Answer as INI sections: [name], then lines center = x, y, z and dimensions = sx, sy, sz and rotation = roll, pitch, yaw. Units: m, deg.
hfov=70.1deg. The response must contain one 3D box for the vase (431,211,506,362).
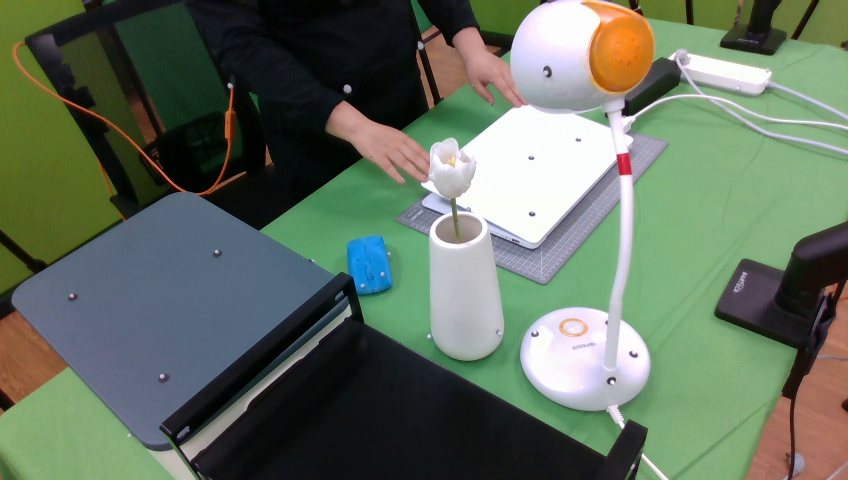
[vase]
center = 0.054, 0.062, 0.757
dimensions = 0.098, 0.201, 0.097
rotation = -3, 40, 3

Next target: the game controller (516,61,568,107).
[game controller]
center = 0.259, -0.352, 1.336
dimensions = 0.097, 0.052, 0.154
rotation = -3, 41, 2

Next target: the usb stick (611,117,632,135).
[usb stick]
center = 0.370, -0.208, 1.147
dimensions = 0.021, 0.027, 0.059
rotation = 27, 53, 31

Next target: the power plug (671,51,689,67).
[power plug]
center = 0.541, -0.378, 1.301
dimensions = 0.073, 0.053, 0.035
rotation = -33, 46, -24

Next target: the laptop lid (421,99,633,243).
[laptop lid]
center = 0.189, -0.140, 1.067
dimensions = 0.240, 0.013, 0.358
rotation = 30, 52, 27

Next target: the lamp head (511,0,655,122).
[lamp head]
center = 0.155, -0.168, 0.564
dimensions = 0.113, 0.113, 0.122
rotation = -18, 23, -12

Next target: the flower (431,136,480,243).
[flower]
center = 0.041, 0.011, 0.691
dimensions = 0.044, 0.363, 0.038
rotation = 16, 62, 14

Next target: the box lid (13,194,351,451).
[box lid]
center = -0.292, 0.067, 0.717
dimensions = 0.368, 0.015, 0.264
rotation = 25, 50, 33

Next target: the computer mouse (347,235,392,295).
[computer mouse]
center = -0.086, 0.035, 0.936
dimensions = 0.063, 0.041, 0.116
rotation = -8, 44, -5

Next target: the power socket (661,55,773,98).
[power socket]
center = 0.619, -0.352, 1.289
dimensions = 0.225, 0.033, 0.072
rotation = 26, 51, 33

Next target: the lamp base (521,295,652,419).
[lamp base]
center = 0.201, 0.095, 0.710
dimensions = 0.161, 0.181, 0.177
rotation = -16, 43, -10

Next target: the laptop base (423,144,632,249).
[laptop base]
center = 0.193, -0.116, 1.087
dimensions = 0.233, 0.023, 0.355
rotation = 20, 47, 34

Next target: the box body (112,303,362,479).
[box body]
center = -0.285, 0.123, 0.766
dimensions = 0.361, 0.161, 0.255
rotation = 25, 49, 33
